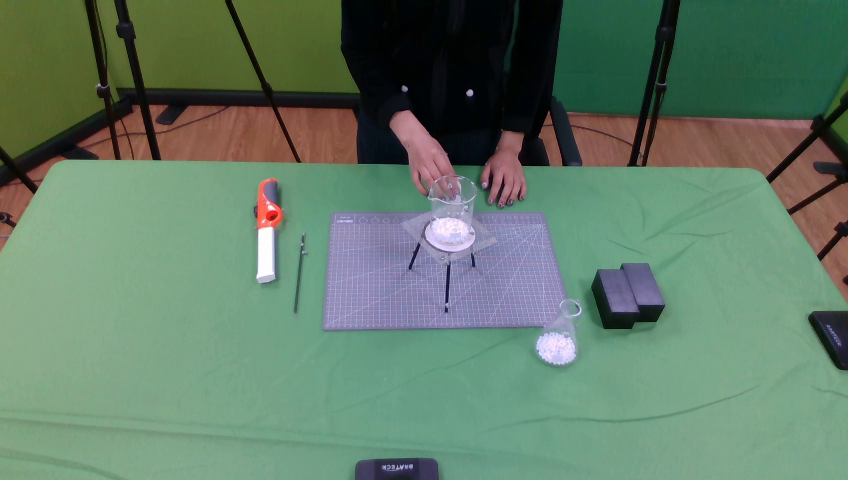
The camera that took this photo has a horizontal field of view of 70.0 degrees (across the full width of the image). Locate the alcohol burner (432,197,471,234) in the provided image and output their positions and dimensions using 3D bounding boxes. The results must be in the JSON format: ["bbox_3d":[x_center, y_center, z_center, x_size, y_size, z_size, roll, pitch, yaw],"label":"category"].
[{"bbox_3d":[0.056,-0.070,1.205,0.078,0.120,0.077,1,47,-1],"label":"alcohol burner"}]

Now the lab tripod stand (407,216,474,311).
[{"bbox_3d":[0.039,0.030,1.093,0.148,0.132,0.147,2,44,-2],"label":"lab tripod stand"}]

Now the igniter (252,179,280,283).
[{"bbox_3d":[-0.312,-0.027,1.197,0.057,0.025,0.274,-12,47,-2],"label":"igniter"}]

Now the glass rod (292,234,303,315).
[{"bbox_3d":[-0.236,0.060,1.134,0.008,0.008,0.198,-1,46,-4],"label":"glass rod"}]

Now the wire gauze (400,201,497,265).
[{"bbox_3d":[0.042,-0.013,1.043,0.125,0.011,0.120,-24,49,-23],"label":"wire gauze"}]

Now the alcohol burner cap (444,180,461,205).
[{"bbox_3d":[0.057,-0.095,1.178,0.034,0.048,0.033,1,51,-2],"label":"alcohol burner cap"}]

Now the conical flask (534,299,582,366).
[{"bbox_3d":[0.229,0.149,1.005,0.075,0.122,0.075,2,46,-2],"label":"conical flask"}]

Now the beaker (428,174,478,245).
[{"bbox_3d":[0.043,-0.047,1.009,0.084,0.101,0.073,-16,48,-19],"label":"beaker"}]
